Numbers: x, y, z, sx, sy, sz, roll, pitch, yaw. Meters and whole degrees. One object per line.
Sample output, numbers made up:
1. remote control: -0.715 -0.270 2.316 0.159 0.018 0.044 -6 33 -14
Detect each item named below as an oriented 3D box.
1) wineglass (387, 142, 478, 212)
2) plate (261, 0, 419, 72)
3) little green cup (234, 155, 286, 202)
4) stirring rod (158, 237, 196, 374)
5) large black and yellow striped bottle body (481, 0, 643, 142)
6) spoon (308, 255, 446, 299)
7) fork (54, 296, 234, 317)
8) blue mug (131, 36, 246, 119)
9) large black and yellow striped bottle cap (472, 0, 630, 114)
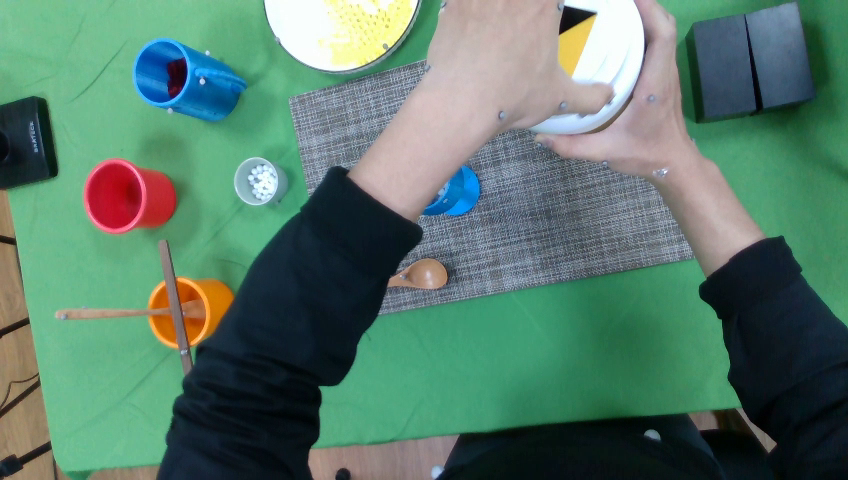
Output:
1. wineglass: 0.014 -0.065 0.665 0.073 0.172 0.073 0 92 14
2. plate: -0.103 -0.312 0.756 0.208 0.038 0.209 1 93 13
3. little green cup: -0.212 -0.079 0.793 0.061 0.039 0.061 1 93 14
4. stirring rod: -0.312 0.083 0.765 0.014 0.006 0.176 -12 90 14
5. large black and yellow striped bottle body: 0.122 -0.157 0.527 0.130 0.184 0.131 2 95 20
6. spoon: -0.063 0.052 0.767 0.193 0.021 0.042 -13 110 14
7. fork: -0.353 0.088 0.778 0.208 0.018 0.028 0 100 -30
8. blue mug: -0.287 -0.203 0.771 0.116 0.106 0.082 2 93 13
9. large black and yellow striped bottle cap: 0.092 -0.152 0.447 0.114 0.019 0.115 3 98 20
